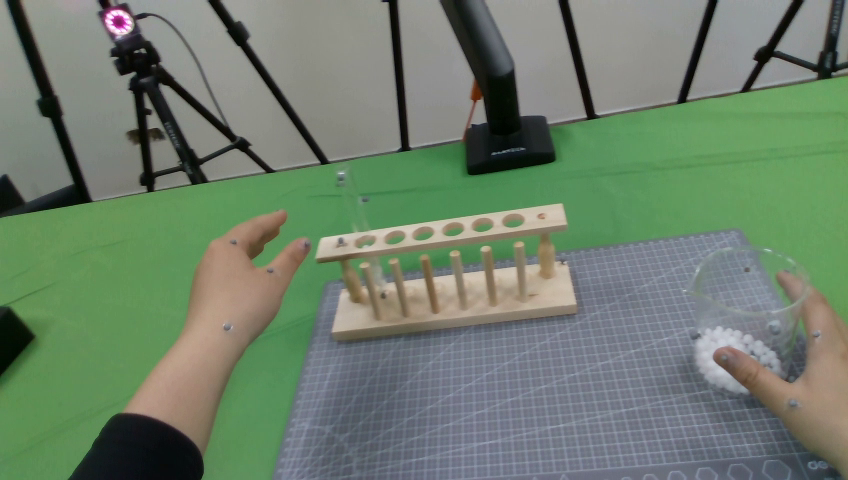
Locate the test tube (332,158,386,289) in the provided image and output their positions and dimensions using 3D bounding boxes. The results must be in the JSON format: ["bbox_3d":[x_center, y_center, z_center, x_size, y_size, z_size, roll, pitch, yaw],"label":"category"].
[{"bbox_3d":[-0.061,-0.012,0.591,0.017,0.151,0.017,-10,35,7],"label":"test tube"}]

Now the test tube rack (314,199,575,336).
[{"bbox_3d":[0.019,0.029,0.594,0.242,0.086,0.066,-8,38,9],"label":"test tube rack"}]

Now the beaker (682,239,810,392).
[{"bbox_3d":[0.241,0.061,0.466,0.084,0.101,0.073,-8,37,10],"label":"beaker"}]
